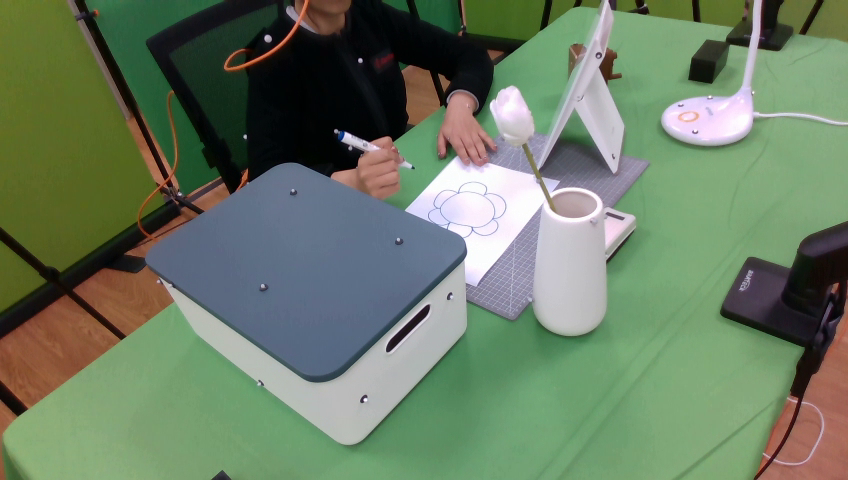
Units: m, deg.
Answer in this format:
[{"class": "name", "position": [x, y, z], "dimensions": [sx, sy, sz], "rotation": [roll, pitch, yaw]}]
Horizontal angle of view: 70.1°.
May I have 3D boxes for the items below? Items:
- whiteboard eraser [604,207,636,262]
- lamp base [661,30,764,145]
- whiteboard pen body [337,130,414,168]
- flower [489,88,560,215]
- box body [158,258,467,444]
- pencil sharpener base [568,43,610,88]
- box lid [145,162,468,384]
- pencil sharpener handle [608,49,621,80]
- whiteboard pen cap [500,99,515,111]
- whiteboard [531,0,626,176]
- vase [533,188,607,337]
[{"class": "whiteboard eraser", "position": [0.272, -0.003, 0.919], "dimensions": [0.055, 0.042, 0.113], "rotation": [27, 51, 32]}, {"class": "lamp base", "position": [0.535, -0.287, 1.096], "dimensions": [0.179, 0.181, 0.159], "rotation": [-10, 40, -4]}, {"class": "whiteboard pen body", "position": [-0.074, -0.141, 0.963], "dimensions": [0.142, 0.017, 0.017], "rotation": [21, 30, -29]}, {"class": "flower", "position": [0.158, -0.028, 0.720], "dimensions": [0.038, 0.364, 0.044], "rotation": [-14, 44, 23]}, {"class": "box body", "position": [-0.147, 0.072, 0.816], "dimensions": [0.361, 0.161, 0.255], "rotation": [24, 50, 33]}, {"class": "pencil sharpener base", "position": [0.345, -0.352, 1.263], "dimensions": [0.077, 0.107, 0.061], "rotation": [-8, 40, 1]}, {"class": "box lid", "position": [-0.157, 0.014, 0.769], "dimensions": [0.368, 0.015, 0.264], "rotation": [25, 51, 33]}, {"class": "pencil sharpener handle", "position": [0.394, -0.367, 1.253], "dimensions": [0.030, 0.068, 0.036], "rotation": [-8, 32, 1]}, {"class": "whiteboard pen cap", "position": [0.177, -0.287, 1.290], "dimensions": [0.033, 0.018, 0.018], "rotation": [-37, 48, -26]}, {"class": "whiteboard", "position": [0.320, -0.259, 1.050], "dimensions": [0.144, 0.306, 0.217], "rotation": [22, 45, 6]}, {"class": "vase", "position": [0.187, 0.033, 0.771], "dimensions": [0.098, 0.201, 0.097], "rotation": [-6, 41, 6]}]
